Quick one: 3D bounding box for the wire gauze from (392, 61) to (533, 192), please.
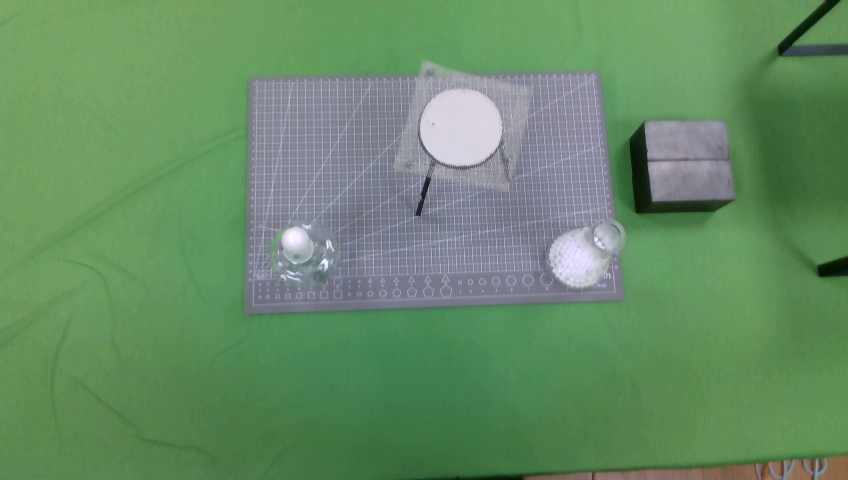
[{"bbox_3d":[0.041,-0.117,0.624,0.121,0.011,0.124,15,77,1],"label":"wire gauze"}]

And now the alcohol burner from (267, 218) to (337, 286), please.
[{"bbox_3d":[-0.137,0.010,0.666,0.078,0.119,0.077,0,78,-2],"label":"alcohol burner"}]

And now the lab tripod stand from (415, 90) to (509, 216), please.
[{"bbox_3d":[0.032,-0.103,0.689,0.148,0.132,0.147,0,77,0],"label":"lab tripod stand"}]

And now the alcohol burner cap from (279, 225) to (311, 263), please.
[{"bbox_3d":[-0.136,0.002,0.631,0.034,0.048,0.033,2,73,-6],"label":"alcohol burner cap"}]

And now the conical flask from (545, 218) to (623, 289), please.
[{"bbox_3d":[0.184,0.010,0.677,0.075,0.122,0.075,1,77,-2],"label":"conical flask"}]
